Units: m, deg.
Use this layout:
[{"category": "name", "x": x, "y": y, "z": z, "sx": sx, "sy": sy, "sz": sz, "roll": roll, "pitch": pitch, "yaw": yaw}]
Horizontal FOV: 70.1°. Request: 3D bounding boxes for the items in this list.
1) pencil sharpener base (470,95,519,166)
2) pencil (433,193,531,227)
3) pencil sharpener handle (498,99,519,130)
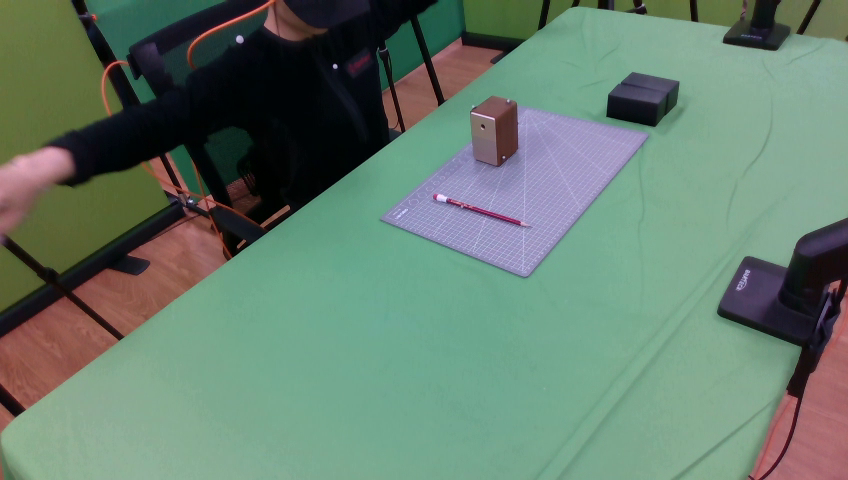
[{"category": "pencil sharpener base", "x": 0.134, "y": -0.206, "z": 1.128, "sx": 0.061, "sy": 0.107, "sz": 0.077, "roll": 23, "pitch": 50, "yaw": 33}, {"category": "pencil", "x": 0.096, "y": -0.050, "z": 1.028, "sx": 0.192, "sy": 0.012, "sz": 0.012, "roll": 20, "pitch": 49, "yaw": 29}, {"category": "pencil sharpener handle", "x": 0.165, "y": -0.243, "z": 1.148, "sx": 0.035, "sy": 0.068, "sz": 0.031, "roll": 21, "pitch": 49, "yaw": 35}]
